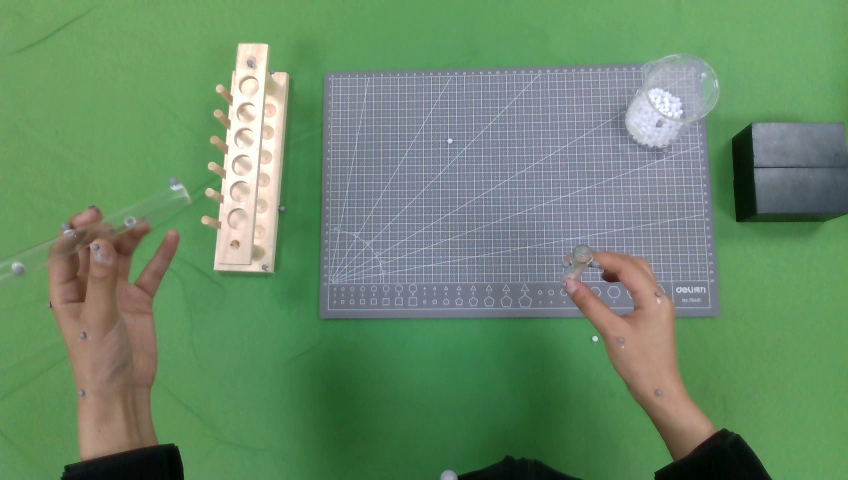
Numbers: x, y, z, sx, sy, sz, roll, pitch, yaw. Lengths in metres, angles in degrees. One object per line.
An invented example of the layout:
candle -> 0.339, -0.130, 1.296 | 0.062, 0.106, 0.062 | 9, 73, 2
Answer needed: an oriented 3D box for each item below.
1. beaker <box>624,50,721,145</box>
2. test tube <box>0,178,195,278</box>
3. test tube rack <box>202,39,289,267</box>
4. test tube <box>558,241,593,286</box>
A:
beaker -> 0.262, -0.152, 0.662 | 0.083, 0.100, 0.074 | 37, 85, 9
test tube -> -0.235, -0.008, 0.423 | 0.150, 0.017, 0.017 | -27, 80, -19
test tube rack -> -0.205, -0.095, 0.684 | 0.067, 0.085, 0.241 | 2, 82, 3
test tube -> 0.132, 0.023, 0.535 | 0.017, 0.151, 0.017 | -2, 77, 8
